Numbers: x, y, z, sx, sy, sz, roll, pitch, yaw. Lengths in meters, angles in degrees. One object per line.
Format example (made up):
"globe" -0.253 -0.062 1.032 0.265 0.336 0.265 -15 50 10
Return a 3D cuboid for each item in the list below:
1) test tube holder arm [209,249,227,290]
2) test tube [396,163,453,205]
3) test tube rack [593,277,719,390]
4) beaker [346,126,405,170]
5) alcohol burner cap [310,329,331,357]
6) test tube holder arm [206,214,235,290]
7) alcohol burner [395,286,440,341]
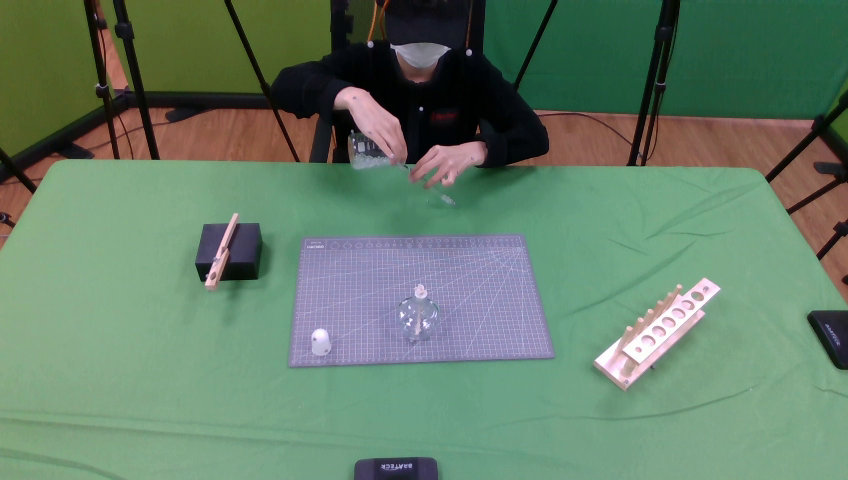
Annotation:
"test tube holder arm" -0.359 0.050 1.059 0.010 0.015 0.087 8 45 -8
"test tube" 0.004 -0.111 1.221 0.151 0.017 0.017 33 35 -32
"test tube rack" 0.401 0.148 1.043 0.242 0.085 0.066 -30 55 -29
"beaker" -0.093 -0.170 1.150 0.100 0.084 0.073 -8 36 -13
"alcohol burner cap" -0.173 0.168 1.005 0.034 0.048 0.033 2 46 -2
"test tube holder arm" -0.364 0.017 1.090 0.013 0.015 0.177 7 45 -8
"alcohol burner" -0.010 0.116 1.018 0.078 0.119 0.077 3 47 -3
